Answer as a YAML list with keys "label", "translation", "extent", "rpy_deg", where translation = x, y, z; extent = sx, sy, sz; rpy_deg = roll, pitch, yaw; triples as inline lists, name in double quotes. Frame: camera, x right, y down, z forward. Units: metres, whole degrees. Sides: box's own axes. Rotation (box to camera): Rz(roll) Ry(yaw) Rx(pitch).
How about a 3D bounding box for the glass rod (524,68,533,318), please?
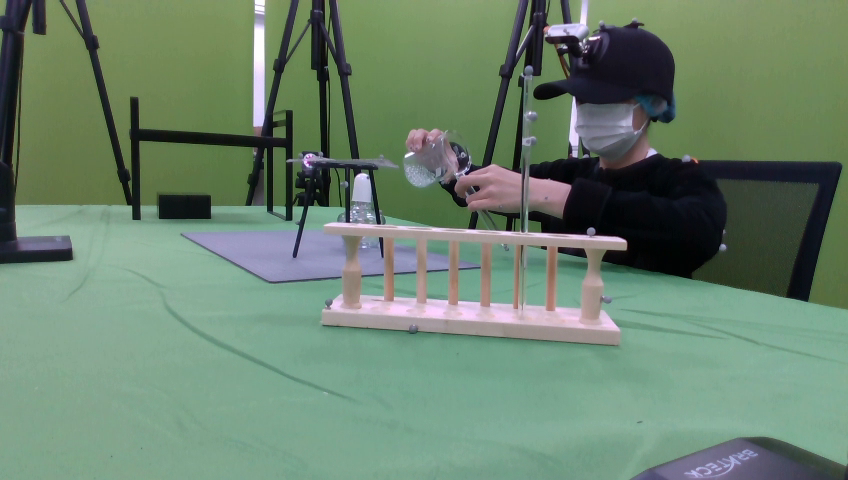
- label: "glass rod"
  translation: [0.082, -0.031, 0.473]
  extent: [0.008, 0.199, 0.008]
  rpy_deg: [-2, 14, 1]

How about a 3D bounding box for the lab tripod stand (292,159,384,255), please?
- label: "lab tripod stand"
  translation: [-0.105, -0.039, 0.797]
  extent: [0.148, 0.131, 0.148]
  rpy_deg: [2, 5, 0]

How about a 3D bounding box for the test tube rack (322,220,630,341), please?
- label: "test tube rack"
  translation: [0.041, 0.029, 0.512]
  extent: [0.242, 0.085, 0.067]
  rpy_deg: [3, 7, 5]

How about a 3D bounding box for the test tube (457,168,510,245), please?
- label: "test tube"
  translation: [0.093, -0.053, 0.948]
  extent: [0.017, 0.149, 0.017]
  rpy_deg: [-25, -25, -12]

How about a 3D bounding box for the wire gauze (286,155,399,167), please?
- label: "wire gauze"
  translation: [-0.101, -0.105, 0.788]
  extent: [0.121, 0.011, 0.125]
  rpy_deg: [4, 6, 6]

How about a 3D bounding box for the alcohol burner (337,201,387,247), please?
- label: "alcohol burner"
  translation: [-0.098, -0.049, 0.954]
  extent: [0.078, 0.119, 0.078]
  rpy_deg: [0, 7, 0]

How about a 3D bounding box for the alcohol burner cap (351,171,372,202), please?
- label: "alcohol burner cap"
  translation: [-0.096, -0.085, 0.952]
  extent: [0.034, 0.048, 0.034]
  rpy_deg: [7, 5, 0]

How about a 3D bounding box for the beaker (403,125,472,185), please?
- label: "beaker"
  translation: [0.021, -0.136, 1.015]
  extent: [0.100, 0.084, 0.074]
  rpy_deg: [-19, -17, 40]
